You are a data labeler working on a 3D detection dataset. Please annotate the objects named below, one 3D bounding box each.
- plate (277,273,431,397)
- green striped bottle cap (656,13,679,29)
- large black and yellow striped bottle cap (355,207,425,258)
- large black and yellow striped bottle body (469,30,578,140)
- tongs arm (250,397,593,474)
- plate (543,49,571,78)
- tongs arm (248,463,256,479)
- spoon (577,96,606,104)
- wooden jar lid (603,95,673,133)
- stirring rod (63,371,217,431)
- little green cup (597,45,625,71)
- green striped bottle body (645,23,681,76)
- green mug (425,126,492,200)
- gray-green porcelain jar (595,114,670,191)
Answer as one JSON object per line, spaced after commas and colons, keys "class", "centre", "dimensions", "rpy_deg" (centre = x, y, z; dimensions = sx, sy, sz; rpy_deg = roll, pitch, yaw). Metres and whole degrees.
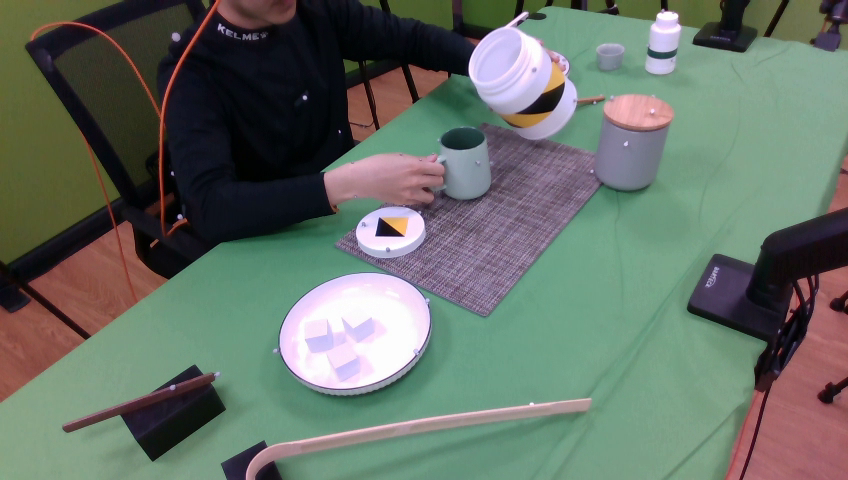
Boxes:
{"class": "plate", "centre": [-0.091, 0.129, 0.821], "dimensions": [0.207, 0.039, 0.206], "rpy_deg": [-4, 40, 4]}
{"class": "green striped bottle cap", "centre": [0.515, -0.463, 1.278], "dimensions": [0.044, 0.020, 0.044], "rpy_deg": [-6, 42, 6]}
{"class": "large black and yellow striped bottle cap", "centre": [-0.056, -0.014, 0.993], "dimensions": [0.115, 0.019, 0.114], "rpy_deg": [-3, 40, 3]}
{"class": "large black and yellow striped bottle body", "centre": [0.175, -0.272, 1.067], "dimensions": [0.130, 0.186, 0.130], "rpy_deg": [-18, 60, 35]}
{"class": "tongs arm", "centre": [0.008, 0.212, 0.675], "dimensions": [0.389, 0.028, 0.028], "rpy_deg": [-5, 46, -11]}
{"class": "plate", "centre": [0.223, -0.371, 1.357], "dimensions": [0.209, 0.038, 0.208], "rpy_deg": [-4, 41, 4]}
{"class": "tongs arm", "centre": [0.012, 0.262, 0.615], "dimensions": [0.385, 0.026, 0.050], "rpy_deg": [2, 42, -2]}
{"class": "spoon", "centre": [0.291, -0.278, 1.249], "dimensions": [0.194, 0.022, 0.041], "rpy_deg": [-17, 27, -11]}
{"class": "wooden jar lid", "centre": [0.343, -0.200, 0.974], "dimensions": [0.108, 0.021, 0.108], "rpy_deg": [-1, 39, 2]}
{"class": "stirring rod", "centre": [-0.337, 0.192, 0.723], "dimensions": [0.177, 0.014, 0.005], "rpy_deg": [-18, 43, -12]}
{"class": "little green cup", "centre": [0.423, -0.413, 1.375], "dimensions": [0.061, 0.039, 0.061], "rpy_deg": [-3, 41, 3]}
{"class": "green striped bottle body", "centre": [0.520, -0.424, 1.312], "dimensions": [0.063, 0.120, 0.063], "rpy_deg": [-4, 40, 4]}
{"class": "green mug", "centre": [0.056, -0.124, 1.037], "dimensions": [0.126, 0.105, 0.091], "rpy_deg": [-28, 46, -22]}
{"class": "gray-green porcelain jar", "centre": [0.346, -0.155, 1.017], "dimensions": [0.106, 0.127, 0.105], "rpy_deg": [-2, 44, 2]}
